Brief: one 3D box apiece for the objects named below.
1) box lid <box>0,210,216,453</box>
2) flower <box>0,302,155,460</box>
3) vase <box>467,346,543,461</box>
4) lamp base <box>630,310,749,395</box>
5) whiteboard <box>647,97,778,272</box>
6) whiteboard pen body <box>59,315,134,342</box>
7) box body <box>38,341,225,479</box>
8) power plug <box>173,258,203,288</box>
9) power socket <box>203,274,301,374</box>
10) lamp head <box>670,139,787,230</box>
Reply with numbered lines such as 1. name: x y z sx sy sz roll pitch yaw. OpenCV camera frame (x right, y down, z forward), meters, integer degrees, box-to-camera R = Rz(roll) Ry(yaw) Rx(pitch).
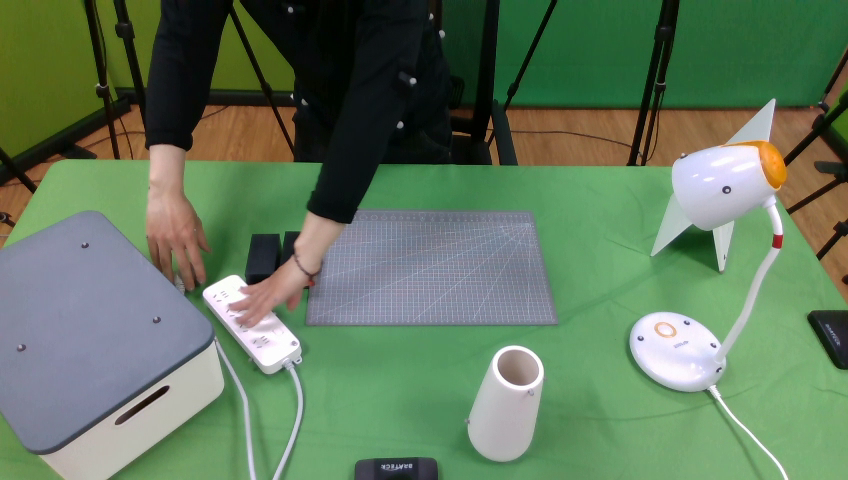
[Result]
1. box lid: -0.504 0.102 0.863 0.369 0.015 0.263 35 53 26
2. flower: -0.553 0.222 0.944 0.361 0.038 0.044 39 62 6
3. vase: 0.116 0.235 0.861 0.098 0.201 0.097 1 47 -1
4. lamp base: 0.447 0.142 0.984 0.161 0.181 0.178 -24 55 -24
5. whiteboard: 0.602 -0.079 1.162 0.144 0.306 0.216 35 51 2
6. whiteboard pen body: -0.544 0.149 1.007 0.140 0.017 0.017 15 47 9
7. box body: -0.506 0.155 0.916 0.362 0.161 0.254 35 54 26
8. power plug: -0.433 0.068 1.110 0.035 0.053 0.072 1 76 42
9. power socket: -0.296 0.140 1.035 0.072 0.033 0.225 -32 57 -29
10. lamp head: 0.415 -0.079 0.812 0.113 0.123 0.112 12 70 -37
